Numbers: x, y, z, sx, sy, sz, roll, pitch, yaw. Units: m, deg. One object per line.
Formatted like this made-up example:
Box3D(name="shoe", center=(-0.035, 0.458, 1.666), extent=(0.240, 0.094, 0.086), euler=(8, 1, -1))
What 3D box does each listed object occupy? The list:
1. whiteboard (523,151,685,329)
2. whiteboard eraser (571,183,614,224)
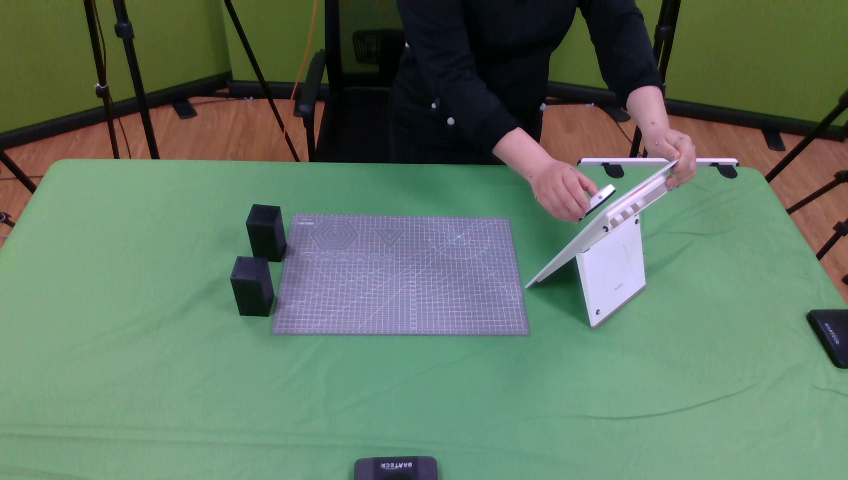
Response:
Box3D(name="whiteboard", center=(0.346, 0.024, 1.047), extent=(0.217, 0.306, 0.143), euler=(-30, 73, -29))
Box3D(name="whiteboard eraser", center=(0.278, -0.061, 1.001), extent=(0.019, 0.101, 0.041), euler=(46, 58, 5))
